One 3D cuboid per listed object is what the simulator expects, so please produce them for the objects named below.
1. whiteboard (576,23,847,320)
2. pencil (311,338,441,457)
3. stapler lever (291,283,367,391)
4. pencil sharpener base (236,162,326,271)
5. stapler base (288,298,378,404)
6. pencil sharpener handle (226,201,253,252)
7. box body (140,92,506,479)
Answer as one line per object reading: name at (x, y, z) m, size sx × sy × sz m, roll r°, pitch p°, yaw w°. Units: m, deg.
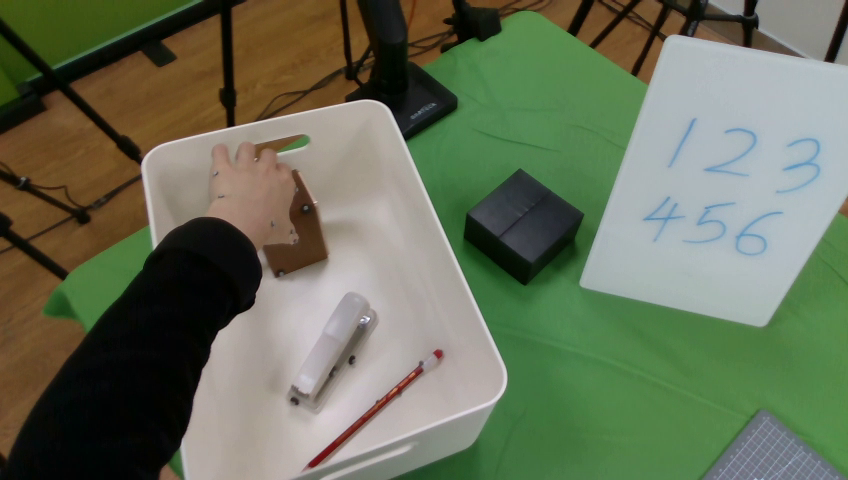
whiteboard at (0.316, -0.088, 0.668) m, size 0.217 × 0.308 × 0.143 m, roll 13°, pitch 39°, yaw 7°
pencil at (-0.052, 0.167, 0.623) m, size 0.012 × 0.012 × 0.194 m, roll 40°, pitch 65°, yaw 22°
stapler lever at (-0.098, 0.096, 0.626) m, size 0.026 × 0.040 × 0.117 m, roll 22°, pitch 62°, yaw 17°
pencil sharpener base at (-0.160, -0.024, 0.681) m, size 0.077 × 0.108 × 0.061 m, roll -23°, pitch 60°, yaw -15°
stapler base at (-0.096, 0.109, 0.649) m, size 0.041 × 0.024 × 0.130 m, roll 22°, pitch 61°, yaw 17°
pencil sharpener handle at (-0.206, -0.011, 0.658) m, size 0.031 × 0.068 × 0.035 m, roll -23°, pitch 60°, yaw -15°
box body at (-0.107, 0.051, 0.610) m, size 0.254 × 0.161 × 0.360 m, roll -17°, pitch 60°, yaw -12°
